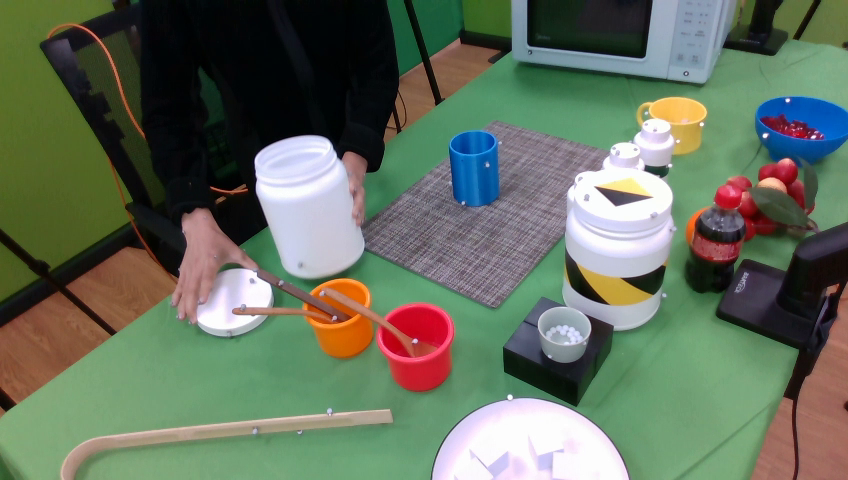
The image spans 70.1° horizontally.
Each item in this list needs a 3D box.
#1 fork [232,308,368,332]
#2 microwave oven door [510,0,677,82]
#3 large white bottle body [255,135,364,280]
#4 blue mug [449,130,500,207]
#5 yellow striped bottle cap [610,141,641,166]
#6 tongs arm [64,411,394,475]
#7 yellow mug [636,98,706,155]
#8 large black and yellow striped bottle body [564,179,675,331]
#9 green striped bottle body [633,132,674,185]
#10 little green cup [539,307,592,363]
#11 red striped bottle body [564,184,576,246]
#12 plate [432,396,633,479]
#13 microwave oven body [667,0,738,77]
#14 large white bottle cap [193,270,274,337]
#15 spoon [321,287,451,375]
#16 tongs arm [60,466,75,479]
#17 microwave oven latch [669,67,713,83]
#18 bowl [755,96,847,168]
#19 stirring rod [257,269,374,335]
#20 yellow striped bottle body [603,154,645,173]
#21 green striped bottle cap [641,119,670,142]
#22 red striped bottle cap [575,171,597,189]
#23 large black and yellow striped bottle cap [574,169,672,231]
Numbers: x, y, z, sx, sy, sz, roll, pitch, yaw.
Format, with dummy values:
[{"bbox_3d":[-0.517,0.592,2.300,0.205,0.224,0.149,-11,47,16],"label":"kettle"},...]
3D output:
[{"bbox_3d":[-0.152,0.101,0.781,0.209,0.018,0.028,18,19,-46],"label":"fork"},{"bbox_3d":[0.352,-0.477,1.289,0.353,0.245,0.039,15,44,25],"label":"microwave oven door"},{"bbox_3d":[-0.170,-0.049,0.893,0.130,0.185,0.130,-7,33,5],"label":"large white bottle body"},{"bbox_3d":[0.089,-0.132,1.049,0.082,0.106,0.116,0,40,9],"label":"blue mug"},{"bbox_3d":[0.308,-0.131,0.925,0.044,0.019,0.044,-4,46,5],"label":"yellow striped bottle cap"},{"bbox_3d":[-0.228,0.240,0.715,0.385,0.026,0.050,-4,44,5],"label":"tongs arm"},{"bbox_3d":[0.453,-0.217,1.128,0.100,0.064,0.129,-34,46,-27],"label":"yellow mug"},{"bbox_3d":[0.253,0.014,0.793,0.131,0.185,0.130,-5,40,4],"label":"large black and yellow striped bottle body"},{"bbox_3d":[0.376,-0.135,1.001,0.063,0.120,0.063,-5,41,5],"label":"green striped bottle body"},{"bbox_3d":[0.168,0.114,0.721,0.061,0.039,0.061,-4,43,4],"label":"little green cup"},{"bbox_3d":[0.247,-0.041,0.910,0.063,0.120,0.062,-3,39,3],"label":"red striped bottle body"},{"bbox_3d":[0.112,0.261,0.635,0.209,0.038,0.208,-5,40,4],"label":"plate"},{"bbox_3d":[0.462,-0.552,1.369,0.439,0.261,0.326,15,45,26],"label":"microwave oven body"},{"bbox_3d":[-0.282,0.092,0.896,0.115,0.018,0.114,1,46,-1],"label":"large white bottle cap"},{"bbox_3d":[-0.046,0.111,0.757,0.194,0.021,0.041,38,47,-15],"label":"spoon"},{"bbox_3d":[-0.239,0.301,0.649,0.386,0.028,0.028,6,49,17],"label":"tongs arm"},{"bbox_3d":[0.556,-0.349,1.261,0.078,0.029,0.030,16,46,27],"label":"microwave oven latch"},{"bbox_3d":[0.645,-0.177,1.041,0.151,0.077,0.150,-5,40,4],"label":"bowl"},{"bbox_3d":[-0.143,0.084,0.808,0.177,0.006,0.014,30,42,-19],"label":"stirring rod"},{"bbox_3d":[0.314,-0.090,0.957,0.063,0.121,0.062,-4,40,4],"label":"yellow striped bottle body"},{"bbox_3d":[0.371,-0.175,0.968,0.044,0.020,0.044,-5,42,5],"label":"green striped bottle cap"},{"bbox_3d":[0.242,-0.081,0.876,0.044,0.018,0.044,-5,44,5],"label":"red striped bottle cap"},{"bbox_3d":[0.242,-0.051,0.738,0.115,0.019,0.114,-4,37,3],"label":"large black and yellow striped bottle cap"}]
